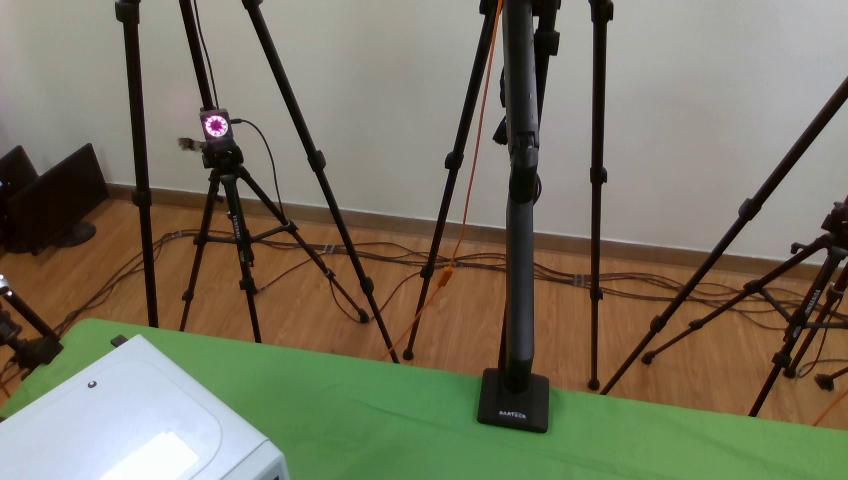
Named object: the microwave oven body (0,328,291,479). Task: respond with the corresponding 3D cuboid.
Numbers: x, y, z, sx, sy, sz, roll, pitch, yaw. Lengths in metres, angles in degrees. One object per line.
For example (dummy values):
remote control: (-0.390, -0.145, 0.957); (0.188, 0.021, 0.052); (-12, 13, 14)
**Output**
microwave oven body: (-0.425, 0.375, 0.727); (0.323, 0.262, 0.441); (27, 47, 27)
